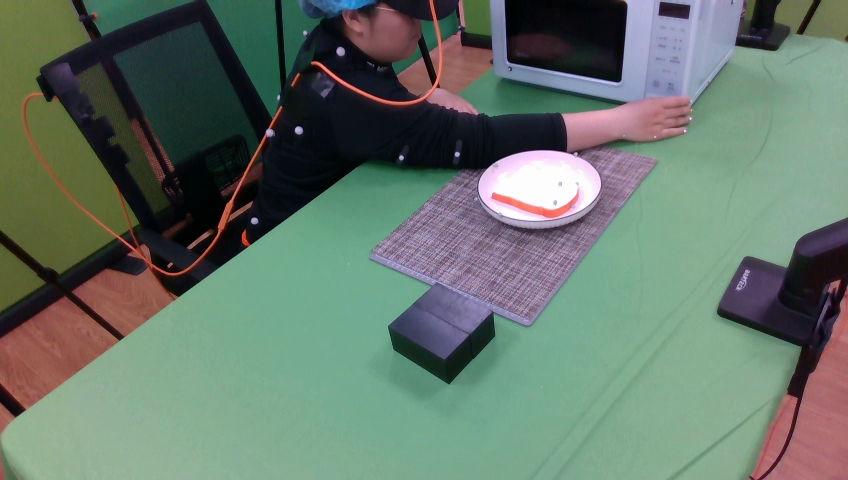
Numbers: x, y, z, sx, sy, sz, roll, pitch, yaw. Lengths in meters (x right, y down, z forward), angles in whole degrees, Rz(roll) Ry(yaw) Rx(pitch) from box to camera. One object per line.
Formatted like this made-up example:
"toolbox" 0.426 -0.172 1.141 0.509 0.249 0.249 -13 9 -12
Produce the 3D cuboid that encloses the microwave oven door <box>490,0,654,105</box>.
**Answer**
"microwave oven door" 0.293 -0.420 1.228 0.353 0.245 0.039 22 50 32

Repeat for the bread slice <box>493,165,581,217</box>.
"bread slice" 0.201 -0.084 1.034 0.130 0.019 0.105 23 50 35

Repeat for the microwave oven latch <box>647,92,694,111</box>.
"microwave oven latch" 0.479 -0.274 1.177 0.078 0.029 0.030 25 52 35

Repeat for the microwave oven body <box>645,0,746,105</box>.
"microwave oven body" 0.417 -0.486 1.290 0.438 0.261 0.327 21 50 33

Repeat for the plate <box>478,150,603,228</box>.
"plate" 0.198 -0.084 1.031 0.209 0.038 0.208 -5 40 5
